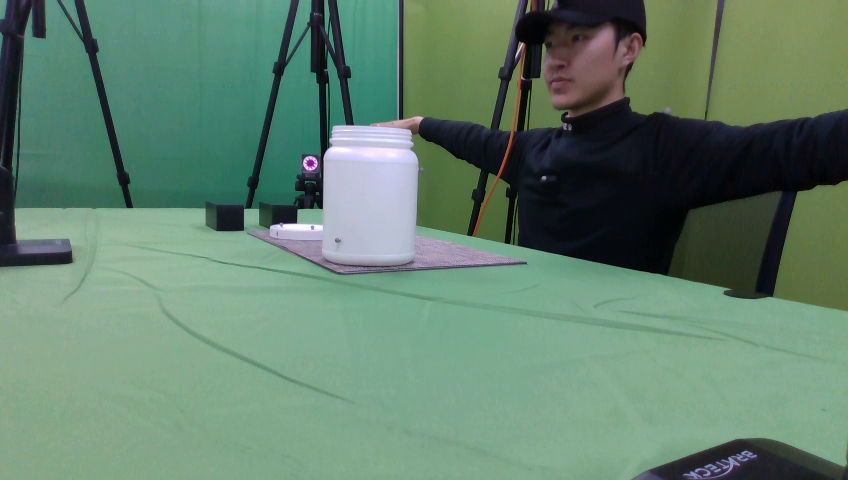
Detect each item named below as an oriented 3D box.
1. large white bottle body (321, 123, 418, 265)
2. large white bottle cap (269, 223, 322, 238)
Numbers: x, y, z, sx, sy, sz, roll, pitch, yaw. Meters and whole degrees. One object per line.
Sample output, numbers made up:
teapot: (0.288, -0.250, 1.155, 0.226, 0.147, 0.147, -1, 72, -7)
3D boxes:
large white bottle body: (-0.075, -0.064, 0.836, 0.131, 0.184, 0.130, 2, 8, 0)
large white bottle cap: (-0.218, -0.017, 1.084, 0.115, 0.018, 0.115, 2, 7, 0)
